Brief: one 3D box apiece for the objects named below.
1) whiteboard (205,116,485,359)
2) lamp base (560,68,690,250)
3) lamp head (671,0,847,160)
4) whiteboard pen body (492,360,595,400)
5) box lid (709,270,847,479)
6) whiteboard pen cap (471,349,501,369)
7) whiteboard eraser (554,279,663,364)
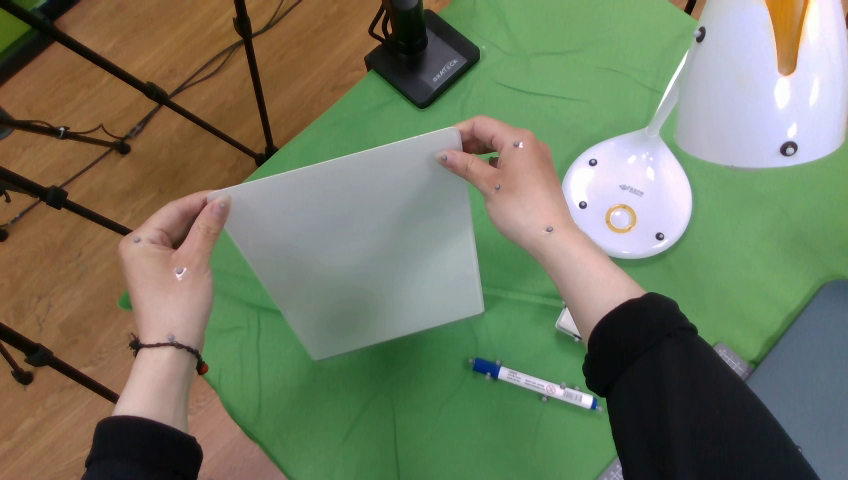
[{"bbox_3d":[-0.067,-0.029,0.654,0.217,0.308,0.142,-15,52,-1],"label":"whiteboard"},{"bbox_3d":[0.248,-0.100,0.691,0.160,0.181,0.178,12,70,8],"label":"lamp base"},{"bbox_3d":[0.229,-0.132,0.413,0.112,0.124,0.111,-9,28,5],"label":"lamp head"},{"bbox_3d":[0.127,0.158,0.700,0.140,0.017,0.017,15,73,10],"label":"whiteboard pen body"},{"bbox_3d":[0.530,0.233,0.654,0.369,0.015,0.263,42,79,15],"label":"box lid"},{"bbox_3d":[0.073,0.139,0.709,0.033,0.018,0.018,15,73,12],"label":"whiteboard pen cap"},{"bbox_3d":[0.213,0.094,0.703,0.112,0.042,0.055,27,77,11],"label":"whiteboard eraser"}]
